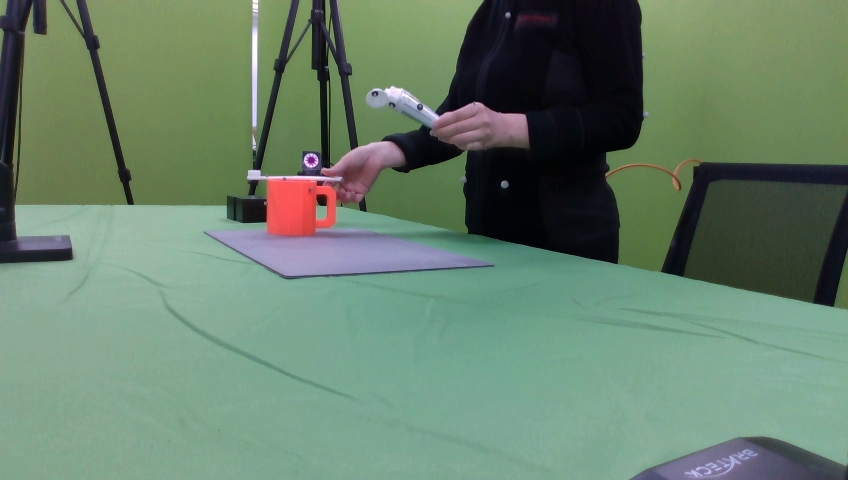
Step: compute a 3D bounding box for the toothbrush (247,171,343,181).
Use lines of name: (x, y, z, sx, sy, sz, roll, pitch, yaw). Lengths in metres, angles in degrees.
toothbrush: (-0.230, -0.115, 1.092, 0.183, 0.016, 0.014, -2, 5, -35)

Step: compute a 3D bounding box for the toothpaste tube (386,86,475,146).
toothpaste tube: (0.008, -0.195, 0.959, 0.166, 0.034, 0.055, 26, 19, -19)

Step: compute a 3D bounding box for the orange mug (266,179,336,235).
orange mug: (-0.222, -0.062, 1.094, 0.127, 0.101, 0.083, -5, 10, -22)

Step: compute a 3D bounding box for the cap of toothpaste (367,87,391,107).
cap of toothpaste: (-0.069, -0.218, 0.915, 0.037, 0.011, 0.037, -9, -35, -6)
